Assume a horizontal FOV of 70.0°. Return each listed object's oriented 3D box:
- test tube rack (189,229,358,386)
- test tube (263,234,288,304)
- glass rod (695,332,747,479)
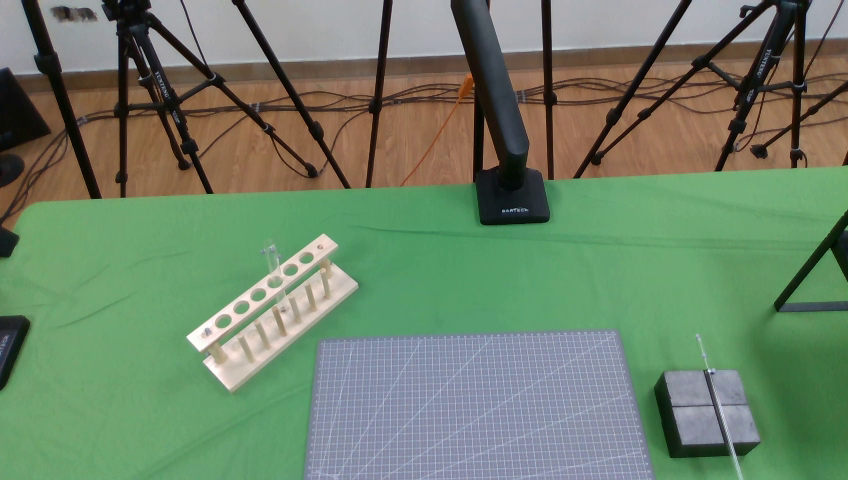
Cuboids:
[{"bbox_3d":[-0.212,0.096,0.892,0.066,0.086,0.242,37,62,26],"label":"test tube rack"},{"bbox_3d":[-0.211,0.045,0.868,0.017,0.151,0.017,2,49,-2],"label":"test tube"},{"bbox_3d":[0.380,0.206,0.780,0.008,0.008,0.197,-2,53,0],"label":"glass rod"}]
